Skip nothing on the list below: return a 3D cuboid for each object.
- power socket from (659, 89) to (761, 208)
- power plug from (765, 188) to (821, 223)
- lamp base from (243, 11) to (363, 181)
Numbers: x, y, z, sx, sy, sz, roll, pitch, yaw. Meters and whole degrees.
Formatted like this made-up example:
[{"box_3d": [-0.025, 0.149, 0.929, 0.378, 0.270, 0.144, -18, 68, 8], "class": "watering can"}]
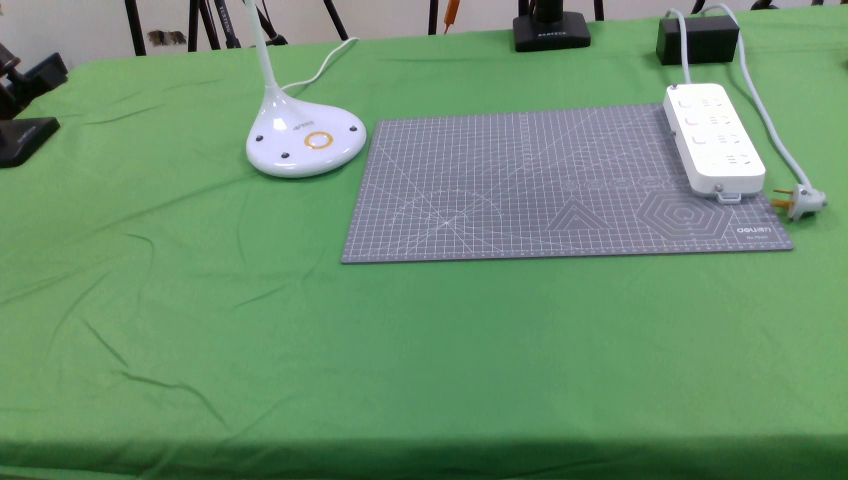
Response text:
[{"box_3d": [0.332, -0.118, 0.716, 0.072, 0.033, 0.225, 1, 40, 9], "class": "power socket"}, {"box_3d": [0.379, -0.036, 0.631, 0.052, 0.035, 0.072, 11, 9, 15], "class": "power plug"}, {"box_3d": [-0.178, -0.191, 0.770, 0.177, 0.182, 0.160, 26, 50, 37], "class": "lamp base"}]
